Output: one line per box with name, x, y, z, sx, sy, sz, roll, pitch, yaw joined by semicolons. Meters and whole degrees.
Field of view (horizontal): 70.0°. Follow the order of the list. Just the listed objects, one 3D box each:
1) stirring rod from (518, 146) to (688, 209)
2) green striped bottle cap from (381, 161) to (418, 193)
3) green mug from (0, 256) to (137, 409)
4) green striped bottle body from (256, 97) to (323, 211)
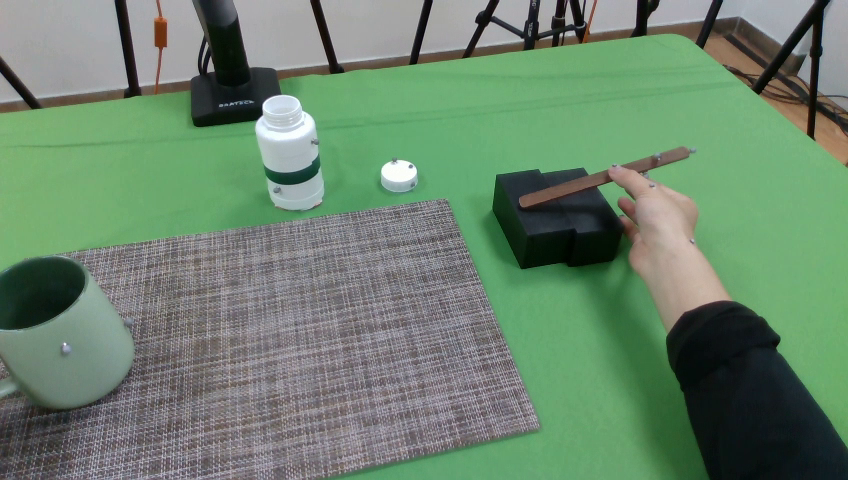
stirring rod;0.182;-0.064;0.619;0.176;0.006;0.014;-17;72;6
green striped bottle cap;-0.030;-0.075;0.726;0.044;0.020;0.044;0;41;0
green mug;-0.307;0.085;0.484;0.091;0.106;0.125;35;54;30
green striped bottle body;-0.148;-0.096;0.669;0.063;0.120;0.062;1;44;-1
